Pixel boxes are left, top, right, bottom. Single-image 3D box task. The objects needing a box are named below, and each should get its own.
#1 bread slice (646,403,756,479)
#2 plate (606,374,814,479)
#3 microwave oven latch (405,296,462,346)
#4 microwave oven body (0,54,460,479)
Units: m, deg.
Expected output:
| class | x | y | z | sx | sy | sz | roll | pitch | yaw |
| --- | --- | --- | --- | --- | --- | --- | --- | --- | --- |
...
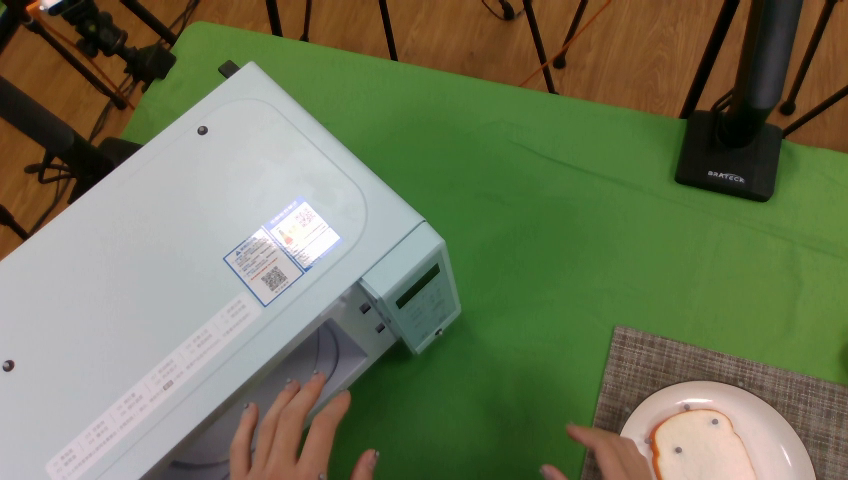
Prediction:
| class | x | y | z | sx | sy | sz | roll | pitch | yaw |
| --- | --- | --- | --- | --- | --- | --- | --- | --- | --- |
| bread slice | 0.301 | 0.245 | 0.657 | 0.105 | 0.019 | 0.130 | -14 | 68 | 1 |
| plate | 0.302 | 0.251 | 0.653 | 0.207 | 0.039 | 0.206 | -2 | 68 | 6 |
| microwave oven latch | 0.011 | 0.092 | 0.738 | 0.079 | 0.030 | 0.030 | -41 | 69 | -9 |
| microwave oven body | -0.230 | 0.079 | 0.669 | 0.441 | 0.262 | 0.323 | -43 | 70 | -9 |
